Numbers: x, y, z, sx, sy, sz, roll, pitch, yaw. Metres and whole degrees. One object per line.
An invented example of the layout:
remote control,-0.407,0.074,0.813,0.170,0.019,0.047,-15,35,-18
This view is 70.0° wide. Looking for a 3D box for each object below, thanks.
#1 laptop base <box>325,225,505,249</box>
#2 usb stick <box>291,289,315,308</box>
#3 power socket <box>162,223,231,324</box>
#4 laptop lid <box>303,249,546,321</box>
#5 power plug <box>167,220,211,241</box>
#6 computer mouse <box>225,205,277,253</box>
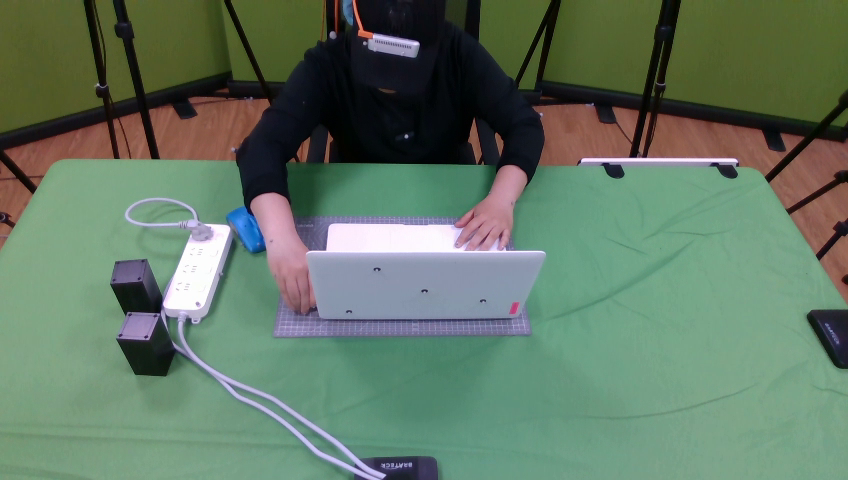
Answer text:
laptop base,-0.014,0.056,1.145,0.355,0.023,0.234,0,42,-4
usb stick,-0.202,0.104,1.067,0.059,0.027,0.021,7,41,-4
power socket,-0.411,0.052,1.106,0.072,0.033,0.225,3,46,-2
laptop lid,-0.002,0.077,0.962,0.357,0.243,0.013,1,58,-5
power plug,-0.438,-0.016,1.143,0.072,0.053,0.035,9,43,4
computer mouse,-0.339,-0.026,1.186,0.063,0.041,0.116,-25,57,-29
